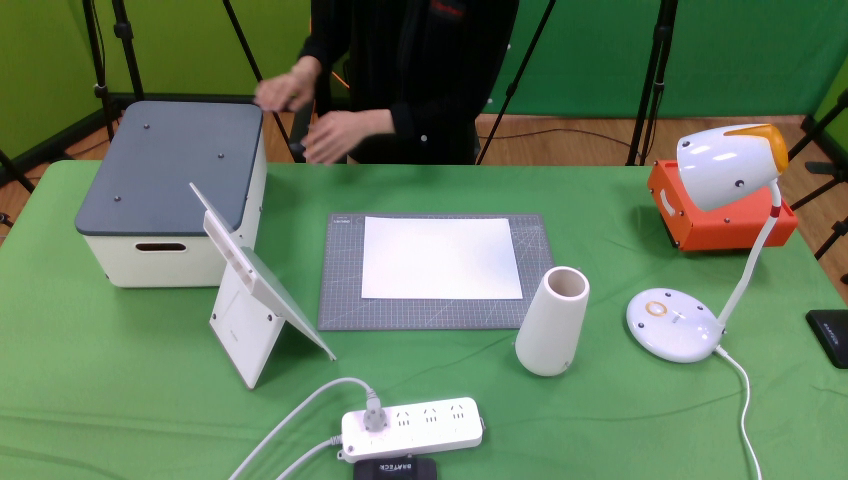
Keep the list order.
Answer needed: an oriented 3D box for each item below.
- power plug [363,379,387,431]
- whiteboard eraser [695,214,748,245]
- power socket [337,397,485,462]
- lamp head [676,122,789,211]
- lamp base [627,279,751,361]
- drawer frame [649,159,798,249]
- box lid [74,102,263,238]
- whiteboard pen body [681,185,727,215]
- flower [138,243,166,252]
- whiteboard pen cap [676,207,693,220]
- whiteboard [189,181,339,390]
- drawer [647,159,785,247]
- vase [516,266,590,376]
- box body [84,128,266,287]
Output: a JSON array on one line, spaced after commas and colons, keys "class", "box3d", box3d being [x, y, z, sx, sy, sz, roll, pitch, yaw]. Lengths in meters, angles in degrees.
[{"class": "power plug", "box3d": [-0.072, 0.252, 0.910, 0.035, 0.053, 0.072, 3, 45, -1]}, {"class": "whiteboard eraser", "box3d": [0.592, -0.019, 1.209, 0.113, 0.042, 0.055, 11, 27, -36]}, {"class": "power socket", "box3d": [-0.018, 0.285, 0.915, 0.227, 0.033, 0.071, -5, 46, -8]}, {"class": "lamp head", "box3d": [0.423, -0.104, 0.819, 0.122, 0.113, 0.112, -13, 33, 40]}, {"class": "lamp base", "box3d": [0.459, 0.100, 1.027, 0.178, 0.181, 0.160, 27, 51, 17]}, {"class": "drawer frame", "box3d": [0.588, -0.077, 1.219, 0.214, 0.083, 0.200, -2, 45, -5]}, {"class": "box lid", "box3d": [-0.443, -0.138, 1.094, 0.263, 0.015, 0.369, 0, 46, -5]}, {"class": "whiteboard pen body", "box3d": [0.571, -0.081, 1.238, 0.141, 0.017, 0.017, -27, 54, -23]}, {"class": "flower", "box3d": [-0.442, -0.044, 1.193, 0.044, 0.038, 0.361, 45, 47, -6]}, {"class": "whiteboard pen cap", "box3d": [0.524, -0.053, 1.216, 0.033, 0.018, 0.018, -28, 54, -23]}, {"class": "whiteboard", "box3d": [-0.292, 0.096, 0.929, 0.144, 0.307, 0.216, -37, 57, -10]}, {"class": "drawer", "box3d": [0.582, -0.079, 1.214, 0.212, 0.073, 0.193, -1, 46, -5]}, {"class": "vase", "box3d": [0.208, 0.132, 0.964, 0.098, 0.201, 0.097, 3, 46, -3]}, {"class": "box body", "box3d": [-0.447, -0.088, 1.150, 0.254, 0.161, 0.361, -1, 46, -5]}]
